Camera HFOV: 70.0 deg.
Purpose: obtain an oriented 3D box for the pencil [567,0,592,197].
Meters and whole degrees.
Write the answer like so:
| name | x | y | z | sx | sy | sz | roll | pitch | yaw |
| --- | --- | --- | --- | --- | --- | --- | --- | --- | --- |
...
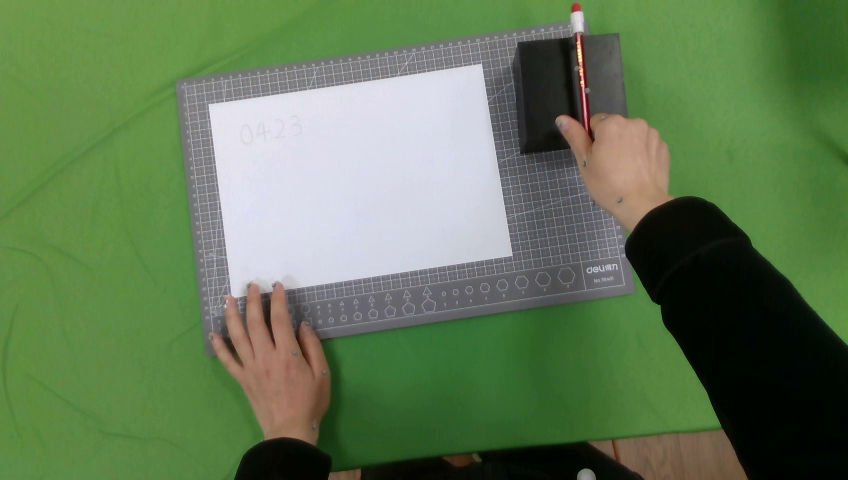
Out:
| name | x | y | z | sx | sy | sz | roll | pitch | yaw |
| --- | --- | --- | --- | --- | --- | --- | --- | --- | --- |
| pencil | 0.150 | -0.137 | 0.578 | 0.012 | 0.012 | 0.193 | -4 | 87 | 1 |
